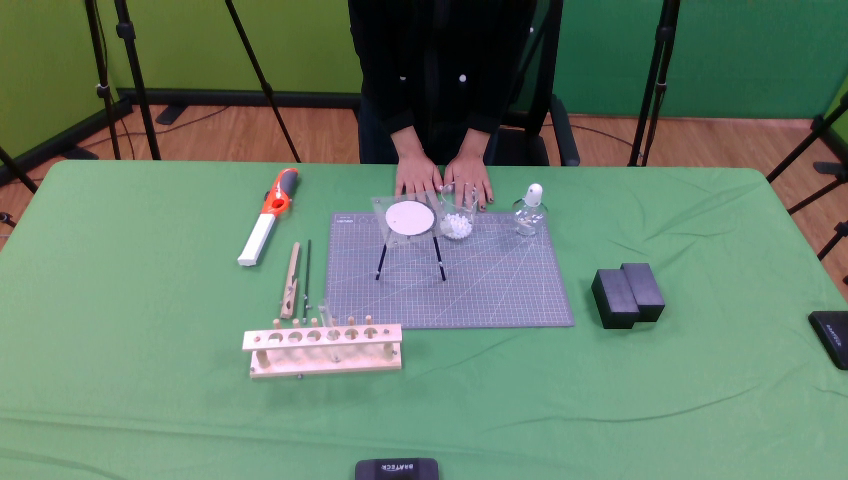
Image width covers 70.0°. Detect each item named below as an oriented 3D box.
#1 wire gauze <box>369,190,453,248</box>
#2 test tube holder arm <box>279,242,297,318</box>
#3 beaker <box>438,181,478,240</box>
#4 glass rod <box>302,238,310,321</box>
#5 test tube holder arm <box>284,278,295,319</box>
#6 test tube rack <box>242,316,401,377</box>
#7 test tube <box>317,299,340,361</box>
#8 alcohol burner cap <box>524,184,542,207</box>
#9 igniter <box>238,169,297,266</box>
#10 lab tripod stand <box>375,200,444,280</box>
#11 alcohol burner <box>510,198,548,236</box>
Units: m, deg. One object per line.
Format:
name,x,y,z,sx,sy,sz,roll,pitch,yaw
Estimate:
wire gauze,-0.024,-0.042,1.064,0.121,0.011,0.124,-10,48,-16
test tube holder arm,-0.249,0.069,1.114,0.013,0.015,0.177,25,39,-27
beaker,0.066,-0.053,1.200,0.074,0.101,0.083,-17,50,-19
glass rod,-0.218,0.069,1.125,0.008,0.008,0.198,-2,47,-5
test tube holder arm,-0.241,0.103,1.085,0.010,0.015,0.087,25,38,-27
test tube rack,-0.161,0.166,0.983,0.242,0.085,0.066,-2,46,-6
test tube,-0.147,0.142,0.938,0.017,0.151,0.017,-1,46,2
alcohol burner cap,0.216,-0.090,1.187,0.034,0.048,0.033,1,55,-2
igniter,-0.313,-0.055,1.225,0.057,0.025,0.275,1,45,10
lab tripod stand,-0.023,0.004,1.114,0.148,0.132,0.147,4,45,-3
alcohol burner,0.214,-0.066,1.214,0.078,0.119,0.077,2,48,-3
